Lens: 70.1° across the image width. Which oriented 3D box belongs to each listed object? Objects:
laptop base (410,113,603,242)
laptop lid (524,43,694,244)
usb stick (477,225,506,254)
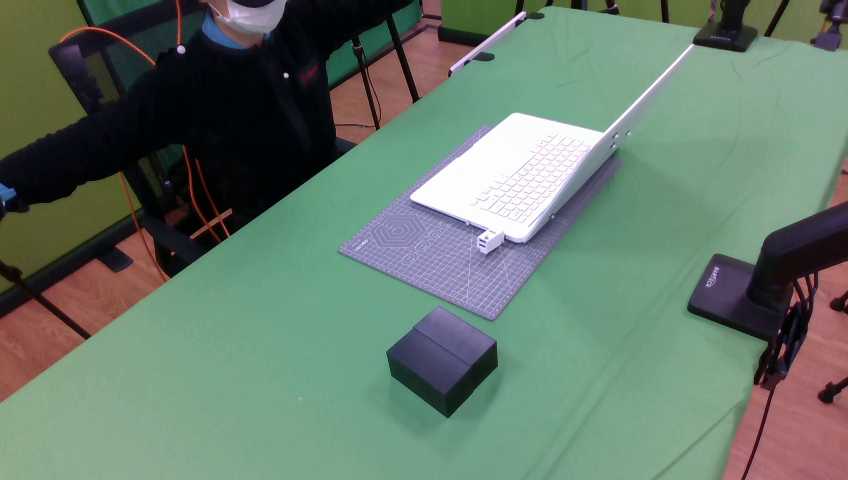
[{"bbox_3d":[0.171,-0.127,1.096,0.233,0.023,0.355,21,47,34],"label":"laptop base"},{"bbox_3d":[0.290,-0.151,0.941,0.013,0.241,0.358,40,54,12],"label":"laptop lid"},{"bbox_3d":[0.107,-0.004,0.933,0.021,0.027,0.059,25,38,35],"label":"usb stick"}]
